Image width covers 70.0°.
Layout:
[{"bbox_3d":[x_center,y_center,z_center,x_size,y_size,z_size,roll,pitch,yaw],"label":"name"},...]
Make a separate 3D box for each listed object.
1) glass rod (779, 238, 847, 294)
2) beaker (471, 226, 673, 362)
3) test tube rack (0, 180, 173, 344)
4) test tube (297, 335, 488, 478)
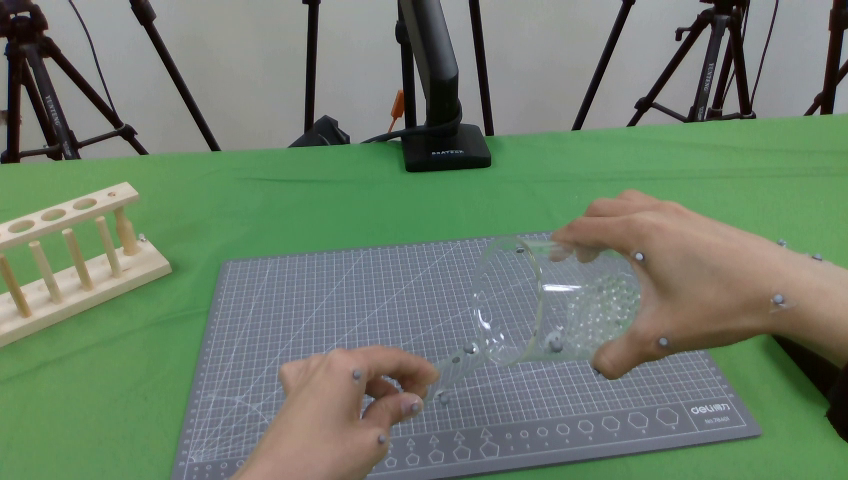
[{"bbox_3d":[0.375,0.054,0.511,0.008,0.008,0.197,-11,36,-13],"label":"glass rod"},{"bbox_3d":[0.088,0.036,0.362,0.101,0.084,0.073,3,38,-24],"label":"beaker"},{"bbox_3d":[-0.381,0.031,0.578,0.242,0.086,0.066,-28,44,-33],"label":"test tube rack"},{"bbox_3d":[-0.022,0.107,0.380,0.150,0.017,0.017,-38,35,13],"label":"test tube"}]
